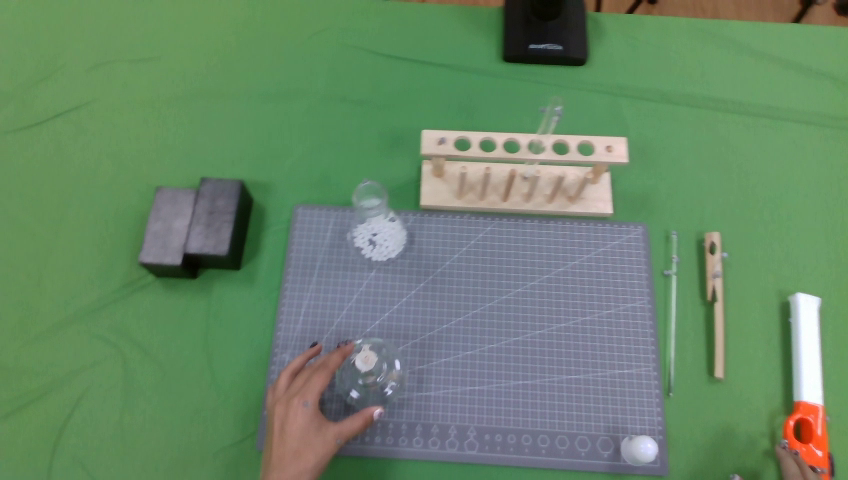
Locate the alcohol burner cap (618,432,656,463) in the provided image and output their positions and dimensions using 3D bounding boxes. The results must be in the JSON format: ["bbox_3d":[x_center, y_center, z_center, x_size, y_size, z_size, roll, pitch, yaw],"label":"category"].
[{"bbox_3d":[0.231,0.220,0.648,0.034,0.048,0.033,0,67,0],"label":"alcohol burner cap"}]

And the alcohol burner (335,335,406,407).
[{"bbox_3d":[-0.059,0.135,0.642,0.078,0.120,0.077,-1,66,2],"label":"alcohol burner"}]

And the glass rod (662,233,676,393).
[{"bbox_3d":[0.294,0.083,0.724,0.008,0.008,0.198,10,71,3],"label":"glass rod"}]

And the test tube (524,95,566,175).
[{"bbox_3d":[0.139,-0.118,0.709,0.017,0.151,0.017,2,65,-3],"label":"test tube"}]

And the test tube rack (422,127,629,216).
[{"bbox_3d":[0.120,-0.083,0.748,0.242,0.086,0.066,3,68,1],"label":"test tube rack"}]

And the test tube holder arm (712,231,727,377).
[{"bbox_3d":[0.351,0.073,0.722,0.013,0.015,0.177,-9,64,34],"label":"test tube holder arm"}]

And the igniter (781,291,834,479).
[{"bbox_3d":[0.424,0.190,0.673,0.057,0.025,0.275,14,69,-5],"label":"igniter"}]

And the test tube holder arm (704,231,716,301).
[{"bbox_3d":[0.351,0.032,0.741,0.010,0.015,0.087,-8,64,35],"label":"test tube holder arm"}]

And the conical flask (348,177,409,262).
[{"bbox_3d":[-0.056,-0.027,0.701,0.075,0.122,0.075,0,68,0],"label":"conical flask"}]
